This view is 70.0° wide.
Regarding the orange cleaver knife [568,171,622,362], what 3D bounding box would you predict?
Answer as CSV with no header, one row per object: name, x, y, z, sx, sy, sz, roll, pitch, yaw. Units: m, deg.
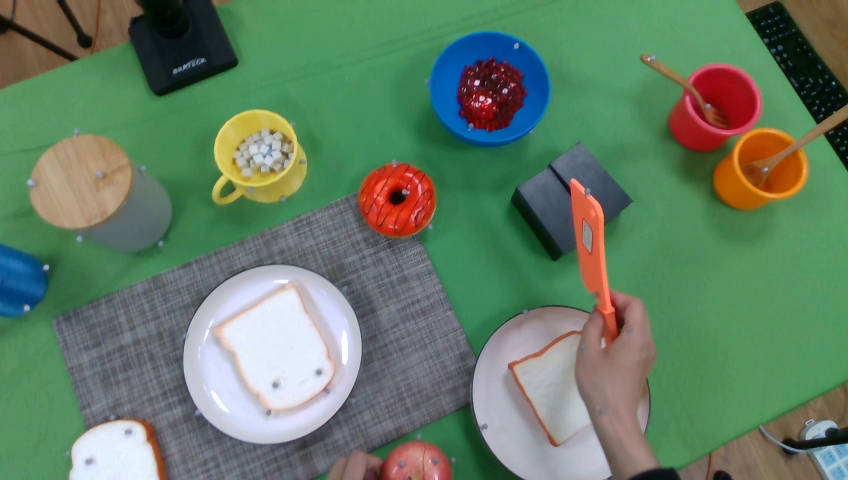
orange cleaver knife,0.182,0.031,0.647,0.012,0.076,0.213,-18,112,-6

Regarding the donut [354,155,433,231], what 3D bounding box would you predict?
donut,-0.037,-0.059,0.757,0.099,0.048,0.098,0,78,-1

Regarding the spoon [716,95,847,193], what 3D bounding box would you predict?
spoon,0.444,-0.121,0.731,0.022,0.194,0.041,-16,70,-51

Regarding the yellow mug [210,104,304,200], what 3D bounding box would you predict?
yellow mug,-0.216,-0.099,0.757,0.099,0.064,0.130,41,80,8

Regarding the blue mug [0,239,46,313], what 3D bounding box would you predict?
blue mug,-0.519,0.049,0.695,0.082,0.106,0.116,39,79,8

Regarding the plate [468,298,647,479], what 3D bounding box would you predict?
plate,0.154,0.174,0.714,0.209,0.038,0.208,0,77,-1

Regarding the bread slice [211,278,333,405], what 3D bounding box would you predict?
bread slice,-0.169,0.125,0.717,0.107,0.018,0.133,-35,79,-8

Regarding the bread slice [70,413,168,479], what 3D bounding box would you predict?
bread slice,-0.350,0.267,0.690,0.105,0.019,0.131,-17,79,-5

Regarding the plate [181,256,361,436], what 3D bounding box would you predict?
plate,-0.177,0.123,0.716,0.208,0.039,0.206,0,77,-1

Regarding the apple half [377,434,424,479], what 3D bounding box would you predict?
apple half,-0.024,0.258,0.673,0.053,0.075,0.080,-1,79,5

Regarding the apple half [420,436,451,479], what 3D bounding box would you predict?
apple half,0.014,0.256,0.672,0.033,0.082,0.081,-1,76,5

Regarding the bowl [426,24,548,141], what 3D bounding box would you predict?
bowl,0.077,-0.188,0.776,0.151,0.077,0.150,0,77,-1

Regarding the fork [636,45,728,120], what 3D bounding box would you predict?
fork,0.322,-0.191,0.745,0.209,0.018,0.028,18,71,-39

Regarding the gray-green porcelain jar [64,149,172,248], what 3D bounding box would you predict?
gray-green porcelain jar,-0.366,-0.051,0.711,0.106,0.127,0.105,0,76,-1

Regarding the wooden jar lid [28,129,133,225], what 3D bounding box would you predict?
wooden jar lid,-0.366,-0.066,0.651,0.108,0.021,0.108,0,75,0
